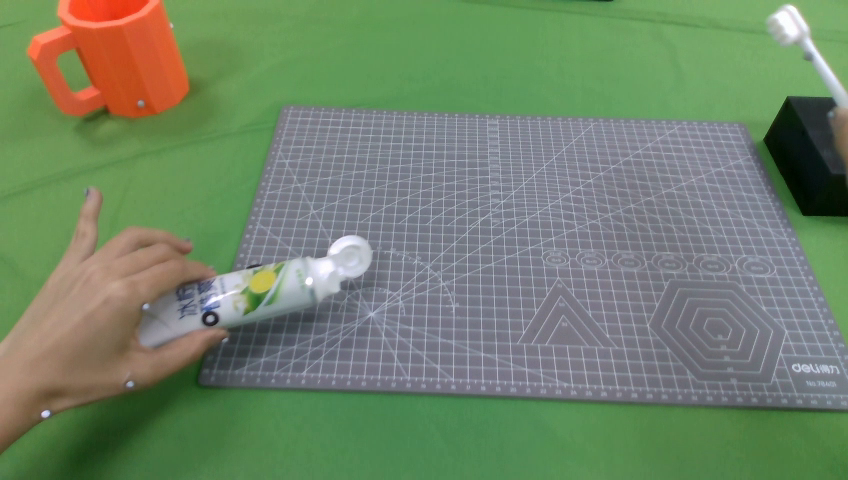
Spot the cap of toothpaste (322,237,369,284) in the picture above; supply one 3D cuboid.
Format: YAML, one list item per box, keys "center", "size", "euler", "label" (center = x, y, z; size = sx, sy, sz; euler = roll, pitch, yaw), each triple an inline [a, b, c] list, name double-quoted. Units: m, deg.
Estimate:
- center: [-0.056, 0.016, 0.443]
  size: [0.037, 0.037, 0.011]
  euler: [-23, 23, -19]
  label: "cap of toothpaste"

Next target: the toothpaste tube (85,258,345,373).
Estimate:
- center: [-0.133, 0.041, 0.401]
  size: [0.165, 0.035, 0.054]
  euler: [-14, 42, -18]
  label: "toothpaste tube"

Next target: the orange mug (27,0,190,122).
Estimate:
- center: [-0.290, -0.168, 0.562]
  size: [0.083, 0.101, 0.126]
  euler: [36, 53, 26]
  label: "orange mug"

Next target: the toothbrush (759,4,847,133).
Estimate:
- center: [0.253, -0.060, 0.354]
  size: [0.016, 0.014, 0.181]
  euler: [-31, 86, -21]
  label: "toothbrush"
